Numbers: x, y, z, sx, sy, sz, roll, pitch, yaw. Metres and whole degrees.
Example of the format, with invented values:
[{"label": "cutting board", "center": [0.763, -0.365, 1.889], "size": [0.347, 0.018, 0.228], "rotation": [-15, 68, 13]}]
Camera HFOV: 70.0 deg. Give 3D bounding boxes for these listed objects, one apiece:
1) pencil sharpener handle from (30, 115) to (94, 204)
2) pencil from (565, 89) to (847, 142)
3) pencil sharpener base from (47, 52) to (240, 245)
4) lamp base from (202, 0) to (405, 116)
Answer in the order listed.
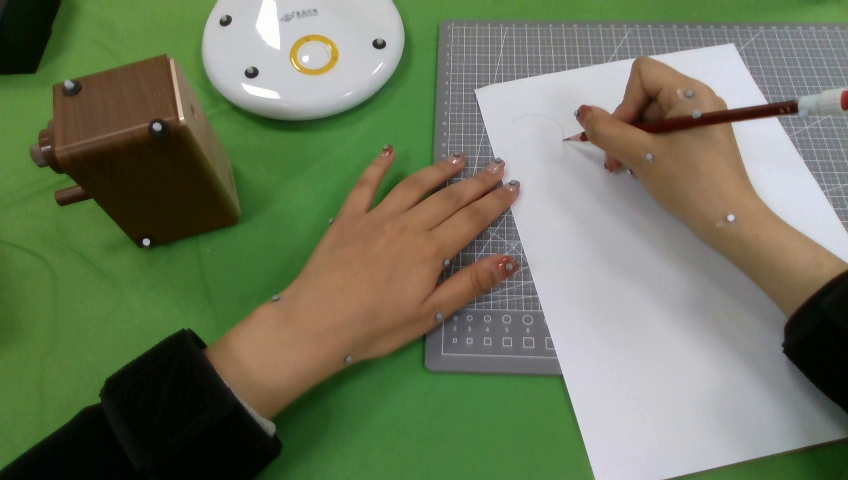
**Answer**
[{"label": "pencil sharpener handle", "center": [-0.220, -0.043, 0.363], "size": [0.031, 0.068, 0.035], "rotation": [-17, 65, -7]}, {"label": "pencil", "center": [0.153, -0.069, 0.358], "size": [0.012, 0.193, 0.012], "rotation": [-47, 114, -21]}, {"label": "pencil sharpener base", "center": [-0.171, -0.052, 0.380], "size": [0.077, 0.108, 0.061], "rotation": [-17, 62, -7]}, {"label": "lamp base", "center": [-0.105, -0.209, 0.422], "size": [0.161, 0.182, 0.177], "rotation": [-27, 62, -12]}]
